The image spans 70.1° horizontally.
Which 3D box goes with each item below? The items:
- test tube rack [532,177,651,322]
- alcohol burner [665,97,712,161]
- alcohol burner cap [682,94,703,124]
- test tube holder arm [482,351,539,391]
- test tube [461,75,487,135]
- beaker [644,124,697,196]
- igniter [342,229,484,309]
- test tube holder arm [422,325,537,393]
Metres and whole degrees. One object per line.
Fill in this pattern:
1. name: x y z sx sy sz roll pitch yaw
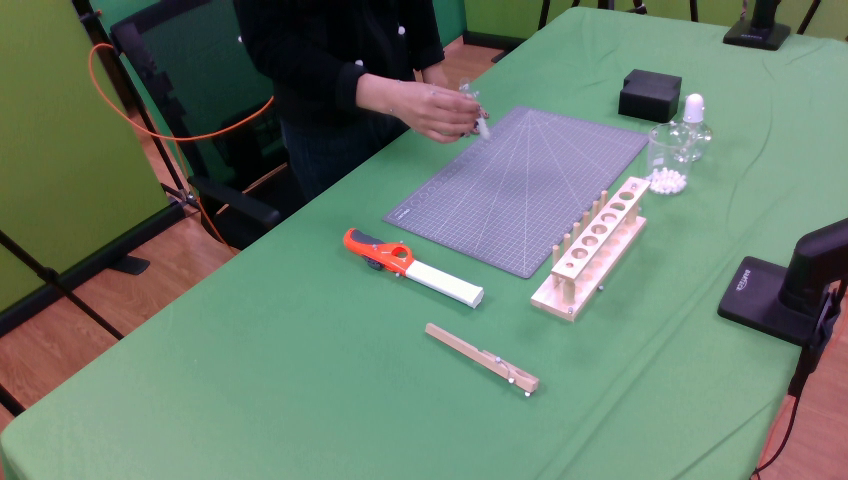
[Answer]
1. test tube rack: 0.247 0.002 0.883 0.066 0.085 0.243 22 49 32
2. alcohol burner: 0.465 -0.198 1.057 0.078 0.119 0.077 -4 41 4
3. alcohol burner cap: 0.460 -0.225 1.033 0.034 0.048 0.033 -8 34 6
4. test tube holder arm: 0.106 0.166 0.769 0.087 0.015 0.010 24 15 34
5. test tube: 0.083 -0.215 0.982 0.017 0.151 0.017 -6 65 14
6. beaker: 0.407 -0.132 1.001 0.084 0.101 0.073 -20 42 -13
7. igniter: -0.027 0.039 0.936 0.274 0.025 0.057 23 59 32
8. test tube holder arm: 0.068 0.152 0.789 0.177 0.015 0.013 23 15 32
